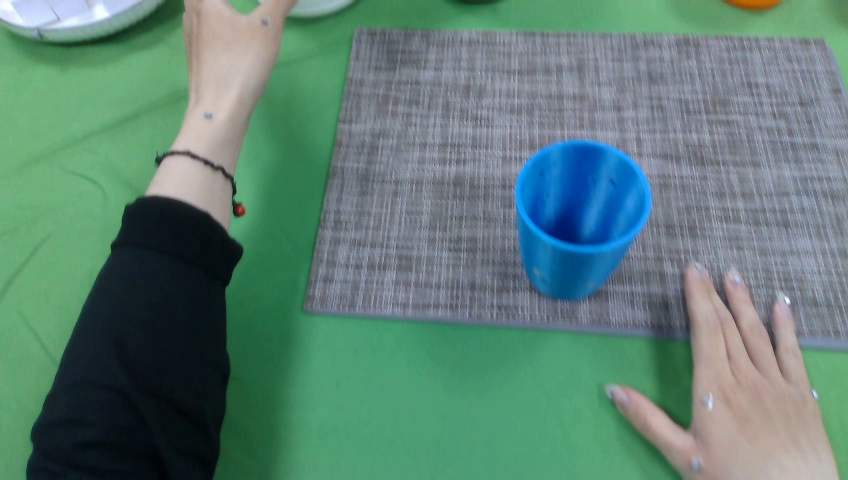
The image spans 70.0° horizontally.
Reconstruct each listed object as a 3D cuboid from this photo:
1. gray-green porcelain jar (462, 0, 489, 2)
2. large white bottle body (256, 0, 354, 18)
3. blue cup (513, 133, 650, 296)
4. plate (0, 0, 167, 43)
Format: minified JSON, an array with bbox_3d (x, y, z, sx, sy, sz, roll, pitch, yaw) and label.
[{"bbox_3d":[0.051,-0.307,0.583,0.106,0.127,0.105,-1,61,3],"label":"gray-green porcelain jar"},{"bbox_3d":[-0.125,-0.321,0.565,0.130,0.186,0.129,-1,61,2],"label":"large white bottle body"},{"bbox_3d":[0.103,-0.007,0.426,0.092,0.101,0.092,-2,61,4],"label":"blue cup"},{"bbox_3d":[-0.350,-0.279,0.637,0.207,0.039,0.206,-1,61,2],"label":"plate"}]
